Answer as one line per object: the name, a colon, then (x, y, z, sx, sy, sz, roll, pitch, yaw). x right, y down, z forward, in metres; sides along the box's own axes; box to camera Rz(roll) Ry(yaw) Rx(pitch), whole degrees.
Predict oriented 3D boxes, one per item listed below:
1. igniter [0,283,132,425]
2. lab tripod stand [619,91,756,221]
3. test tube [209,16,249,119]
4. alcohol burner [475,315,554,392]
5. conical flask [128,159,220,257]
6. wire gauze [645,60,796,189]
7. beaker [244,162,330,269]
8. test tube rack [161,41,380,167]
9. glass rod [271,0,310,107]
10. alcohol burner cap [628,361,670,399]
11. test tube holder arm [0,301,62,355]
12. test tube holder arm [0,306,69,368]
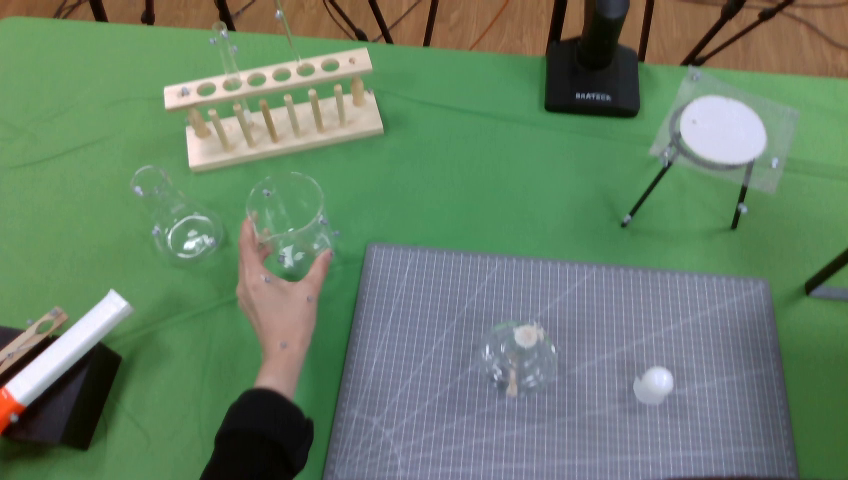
igniter: (-0.392, 0.148, 0.563, 0.057, 0.025, 0.276, 31, 66, 26)
lab tripod stand: (0.295, -0.085, 0.667, 0.148, 0.132, 0.147, 0, 61, -1)
test tube: (-0.224, -0.195, 0.703, 0.017, 0.151, 0.017, 2, 59, -3)
alcohol burner: (0.089, 0.103, 0.580, 0.078, 0.120, 0.077, 1, 61, -1)
conical flask: (-0.276, -0.038, 0.657, 0.075, 0.123, 0.074, 0, 62, 1)
wire gauze: (0.301, -0.118, 0.607, 0.121, 0.011, 0.124, 26, 66, 12)
beaker: (-0.139, -0.018, 0.630, 0.074, 0.101, 0.083, 22, 64, 12)
test tube rack: (-0.182, -0.166, 0.743, 0.242, 0.086, 0.066, -13, 63, -6)
glass rod: (-0.155, -0.226, 0.699, 0.008, 0.201, 0.008, -3, 55, 5)
alcohol burner cap: (0.226, 0.136, 0.601, 0.034, 0.048, 0.033, 0, 62, 1)
test tube holder arm: (-0.422, 0.124, 0.575, 0.178, 0.015, 0.013, -45, 101, -19)
test tube holder arm: (-0.388, 0.098, 0.591, 0.087, 0.015, 0.010, -44, 100, -19)
